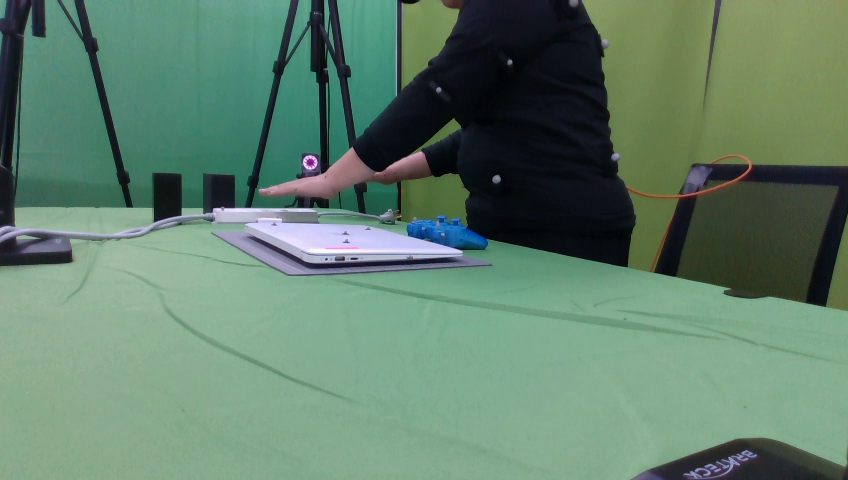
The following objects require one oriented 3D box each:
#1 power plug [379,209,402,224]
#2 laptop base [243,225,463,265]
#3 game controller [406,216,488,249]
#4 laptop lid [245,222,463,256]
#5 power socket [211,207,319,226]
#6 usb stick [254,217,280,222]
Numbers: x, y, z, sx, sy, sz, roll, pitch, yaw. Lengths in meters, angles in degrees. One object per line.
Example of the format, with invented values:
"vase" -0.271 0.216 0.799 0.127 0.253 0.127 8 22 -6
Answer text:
"power plug" -0.081 -0.061 1.421 0.053 0.035 0.072 -15 22 -6
"laptop base" -0.128 0.007 0.951 0.237 0.023 0.352 2 6 -30
"game controller" 0.035 -0.014 1.067 0.097 0.051 0.154 -7 11 -28
"laptop lid" -0.126 -0.005 0.951 0.243 0.013 0.355 1 7 -28
"power socket" -0.335 -0.051 1.282 0.228 0.032 0.072 -2 10 -29
"usb stick" -0.296 -0.028 1.114 0.059 0.027 0.021 -4 11 -30
